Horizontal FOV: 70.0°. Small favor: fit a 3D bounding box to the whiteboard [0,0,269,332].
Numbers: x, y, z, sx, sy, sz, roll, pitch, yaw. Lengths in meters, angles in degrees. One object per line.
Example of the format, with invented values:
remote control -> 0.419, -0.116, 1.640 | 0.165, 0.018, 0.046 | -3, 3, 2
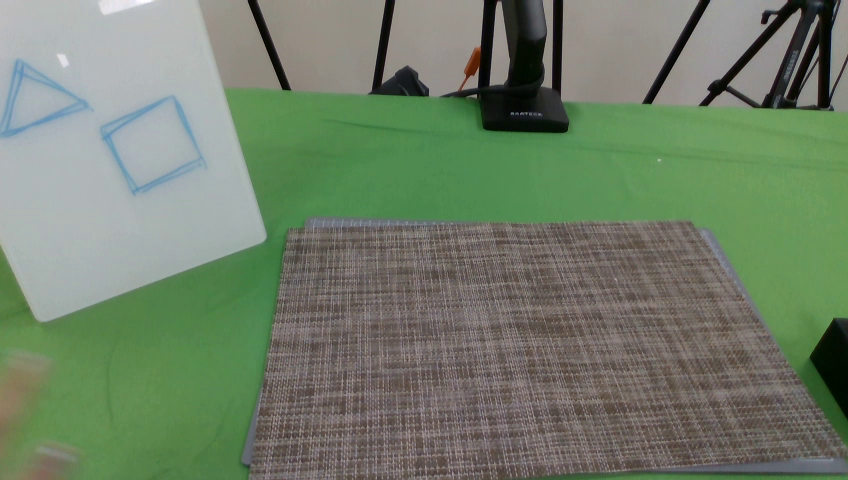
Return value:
whiteboard -> -0.311, -0.111, 0.576 | 0.217, 0.307, 0.142 | -23, 26, -28
